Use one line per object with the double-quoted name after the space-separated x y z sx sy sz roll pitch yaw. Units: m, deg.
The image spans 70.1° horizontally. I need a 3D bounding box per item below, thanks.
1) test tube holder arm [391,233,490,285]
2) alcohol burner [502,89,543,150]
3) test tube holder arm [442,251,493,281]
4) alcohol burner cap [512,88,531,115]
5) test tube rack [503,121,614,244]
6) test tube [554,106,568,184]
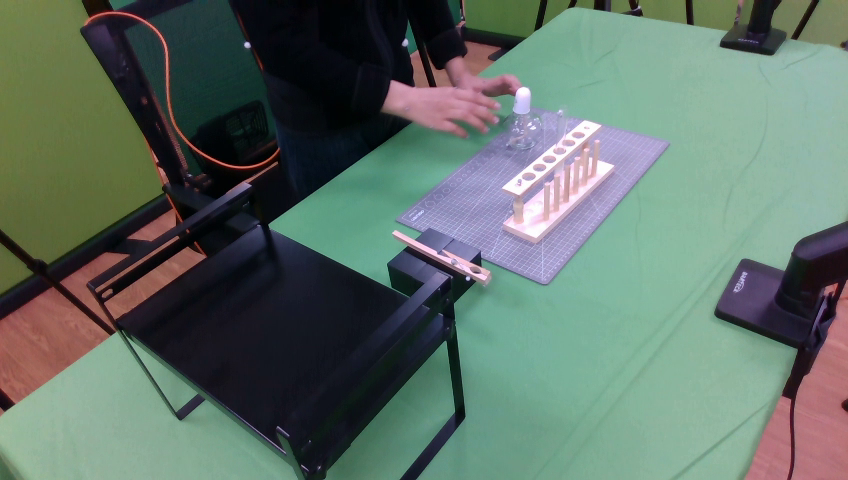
0.020 0.025 0.872 0.177 0.015 0.013 22 56 32 "test tube holder arm"
0.186 -0.233 1.147 0.078 0.119 0.077 -5 42 5 "alcohol burner"
0.058 0.036 0.851 0.087 0.015 0.010 23 57 32 "test tube holder arm"
0.182 -0.260 1.123 0.034 0.048 0.033 0 42 0 "alcohol burner cap"
0.230 -0.101 1.006 0.066 0.085 0.243 26 50 35 "test tube rack"
0.223 -0.151 0.987 0.017 0.151 0.017 -4 43 4 "test tube"
